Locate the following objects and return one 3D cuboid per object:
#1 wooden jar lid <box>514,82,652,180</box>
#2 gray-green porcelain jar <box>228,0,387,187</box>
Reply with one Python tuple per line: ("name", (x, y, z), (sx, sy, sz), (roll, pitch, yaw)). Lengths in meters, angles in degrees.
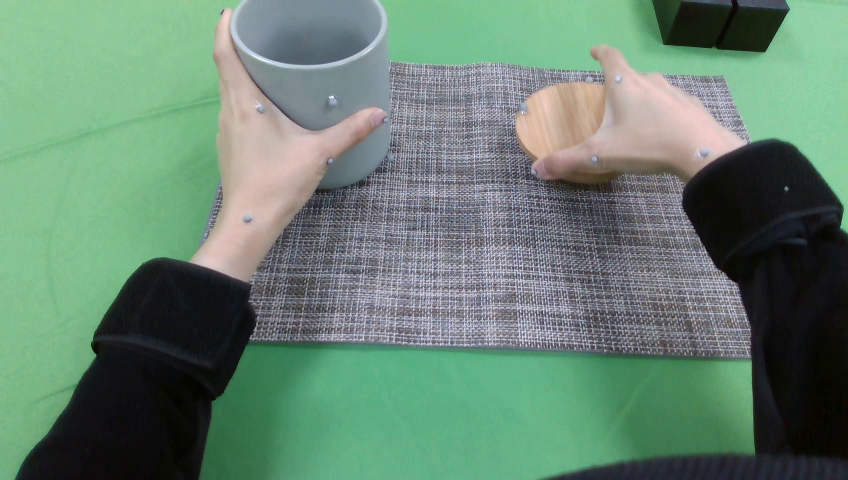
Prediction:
("wooden jar lid", (0.126, -0.087, 0.487), (0.108, 0.021, 0.107), (-2, 51, 2))
("gray-green porcelain jar", (-0.080, -0.111, 0.456), (0.106, 0.127, 0.105), (1, 54, -2))
